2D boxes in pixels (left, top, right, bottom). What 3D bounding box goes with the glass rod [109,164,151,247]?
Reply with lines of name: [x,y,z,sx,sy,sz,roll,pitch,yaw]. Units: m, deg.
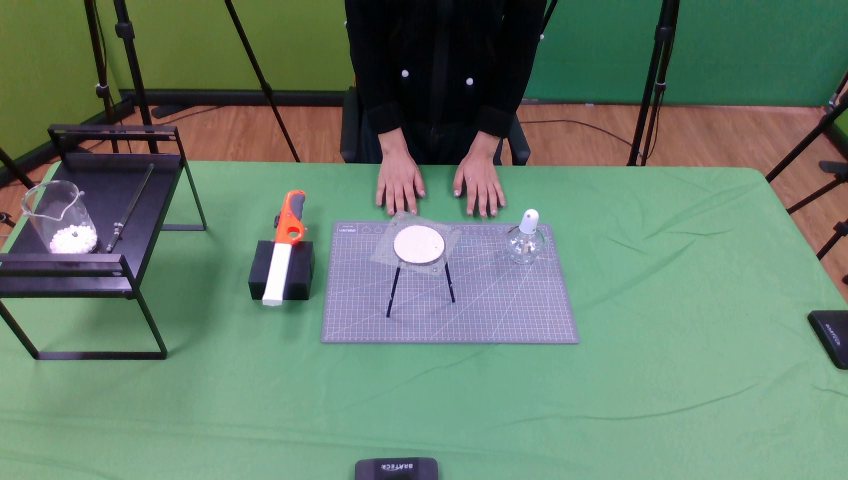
glass rod: [-0.473,-0.061,0.979,0.008,0.008,0.198,1,46,-3]

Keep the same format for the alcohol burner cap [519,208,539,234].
alcohol burner cap: [0.199,-0.037,1.132,0.034,0.048,0.033,4,44,-4]

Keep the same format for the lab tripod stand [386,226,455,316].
lab tripod stand: [-0.013,0.054,1.064,0.148,0.132,0.147,2,48,-2]

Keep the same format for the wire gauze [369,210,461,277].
wire gauze: [-0.013,0.005,1.017,0.121,0.011,0.124,17,49,12]

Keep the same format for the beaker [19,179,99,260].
beaker: [-0.522,-0.024,0.878,0.074,0.101,0.083,-26,54,-25]

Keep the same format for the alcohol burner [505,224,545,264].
alcohol burner: [0.195,-0.013,1.158,0.078,0.120,0.077,1,44,-1]

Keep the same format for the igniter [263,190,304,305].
igniter: [-0.255,0.004,1.107,0.057,0.025,0.274,5,47,-7]
